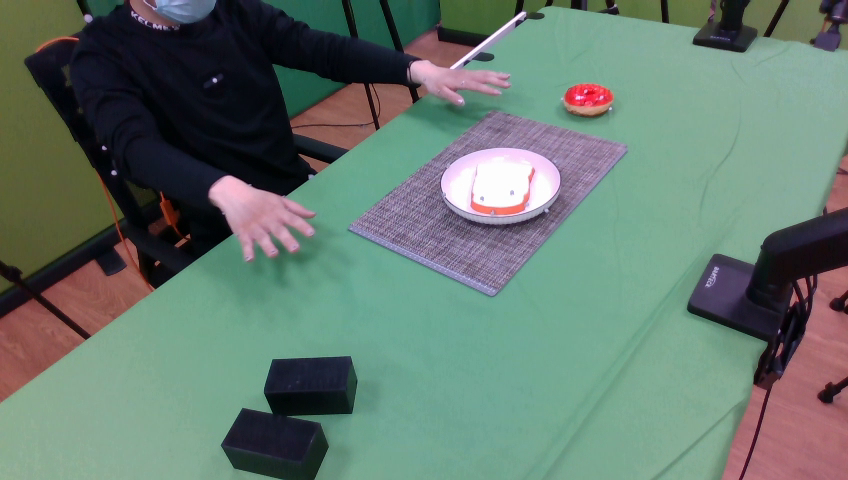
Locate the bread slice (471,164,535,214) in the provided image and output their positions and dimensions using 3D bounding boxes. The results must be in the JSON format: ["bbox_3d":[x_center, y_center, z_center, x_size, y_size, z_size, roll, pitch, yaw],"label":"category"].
[{"bbox_3d":[0.134,-0.090,1.038,0.104,0.019,0.131,3,41,13],"label":"bread slice"}]

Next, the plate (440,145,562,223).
[{"bbox_3d":[0.131,-0.093,1.040,0.207,0.039,0.206,-4,41,4],"label":"plate"}]

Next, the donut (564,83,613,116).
[{"bbox_3d":[0.336,-0.288,1.239,0.099,0.048,0.098,-3,39,3],"label":"donut"}]
